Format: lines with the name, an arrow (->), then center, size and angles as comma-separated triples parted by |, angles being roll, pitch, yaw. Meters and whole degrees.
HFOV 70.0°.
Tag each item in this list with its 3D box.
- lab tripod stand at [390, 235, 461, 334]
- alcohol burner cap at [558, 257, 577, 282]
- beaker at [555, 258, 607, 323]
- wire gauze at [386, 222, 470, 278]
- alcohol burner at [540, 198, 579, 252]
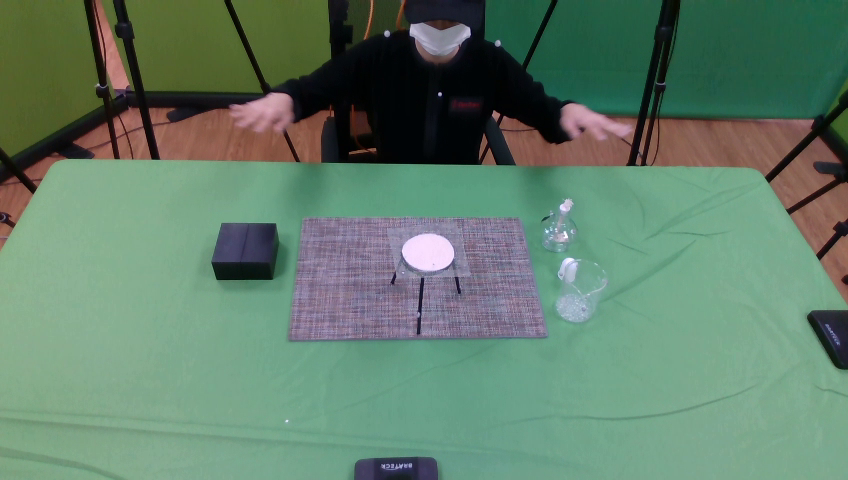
lab tripod stand -> -0.001, 0.067, 1.050 | 0.148, 0.132, 0.147 | 1, 47, -1
alcohol burner cap -> 0.276, 0.053, 1.154 | 0.034, 0.048, 0.033 | 2, 46, -2
beaker -> 0.275, 0.094, 1.073 | 0.074, 0.101, 0.083 | 10, 47, 6
wire gauze -> 0.004, 0.017, 1.005 | 0.125, 0.011, 0.120 | -5, 46, -8
alcohol burner -> 0.267, -0.035, 1.187 | 0.078, 0.120, 0.077 | 1, 45, -1
